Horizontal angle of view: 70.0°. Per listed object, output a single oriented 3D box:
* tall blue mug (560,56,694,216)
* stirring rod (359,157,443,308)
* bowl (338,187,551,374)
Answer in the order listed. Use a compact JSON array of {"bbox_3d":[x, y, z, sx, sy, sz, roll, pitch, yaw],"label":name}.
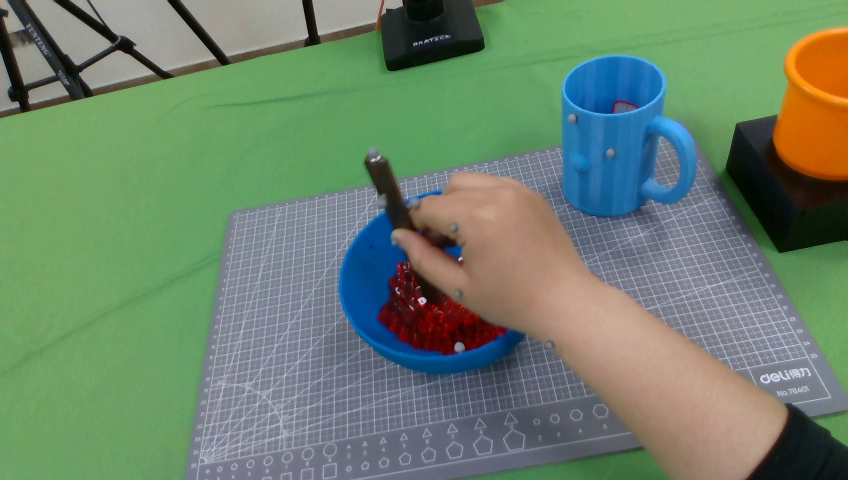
[{"bbox_3d":[0.166,-0.080,0.493,0.106,0.109,0.077,11,53,22],"label":"tall blue mug"},{"bbox_3d":[-0.010,0.004,0.386,0.014,0.178,0.006,4,60,16],"label":"stirring rod"},{"bbox_3d":[0.019,0.041,0.446,0.151,0.077,0.150,-7,49,8],"label":"bowl"}]
